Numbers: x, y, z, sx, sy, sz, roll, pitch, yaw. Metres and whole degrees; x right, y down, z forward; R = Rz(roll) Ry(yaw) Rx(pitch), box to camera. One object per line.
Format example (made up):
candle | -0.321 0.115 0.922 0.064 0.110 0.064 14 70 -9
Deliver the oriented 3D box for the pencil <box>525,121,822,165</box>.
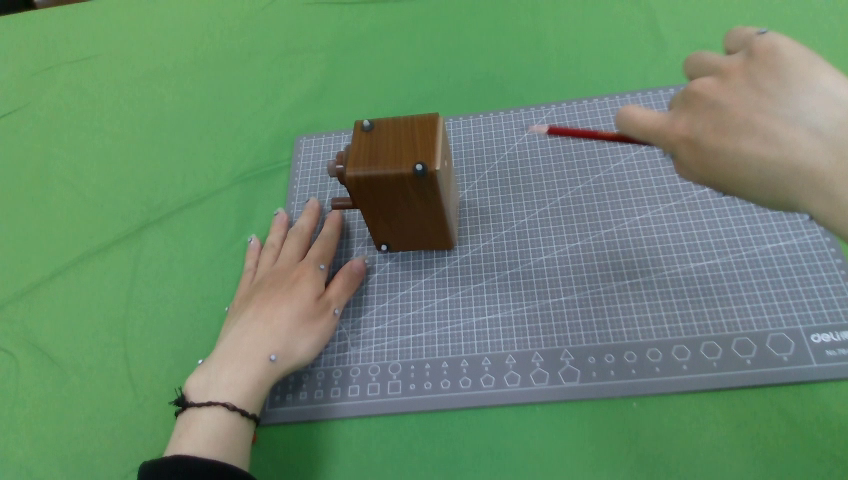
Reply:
pencil | 0.166 -0.068 0.413 0.193 0.012 0.012 9 58 10

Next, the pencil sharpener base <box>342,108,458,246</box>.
pencil sharpener base | -0.017 -0.046 0.489 0.076 0.108 0.061 -3 56 10

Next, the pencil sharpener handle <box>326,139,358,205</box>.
pencil sharpener handle | -0.069 -0.051 0.487 0.030 0.068 0.035 -3 55 10
